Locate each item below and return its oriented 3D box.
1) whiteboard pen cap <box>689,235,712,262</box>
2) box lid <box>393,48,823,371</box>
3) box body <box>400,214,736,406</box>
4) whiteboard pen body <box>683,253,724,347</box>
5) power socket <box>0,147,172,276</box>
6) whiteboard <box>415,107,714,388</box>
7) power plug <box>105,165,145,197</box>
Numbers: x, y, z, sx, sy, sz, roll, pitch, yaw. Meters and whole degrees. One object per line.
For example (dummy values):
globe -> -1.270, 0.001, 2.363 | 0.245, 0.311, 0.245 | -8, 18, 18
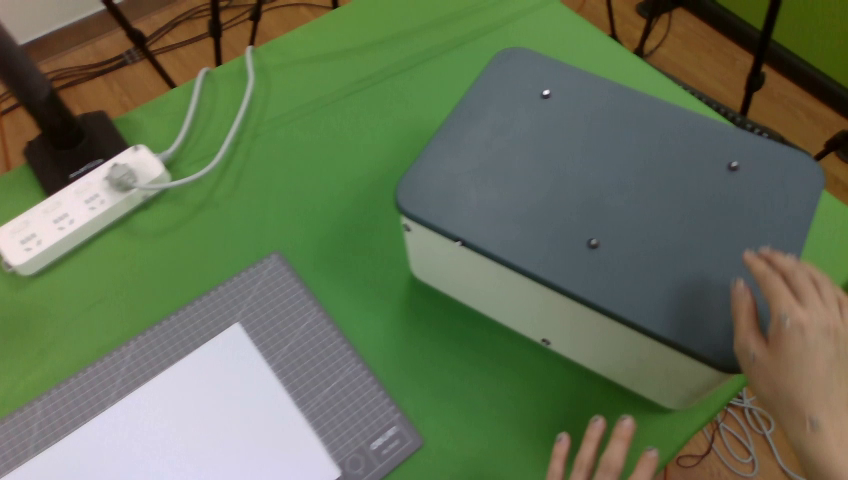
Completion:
whiteboard pen cap -> 0.329, 0.011, 0.722 | 0.018, 0.018, 0.033 | 28, 63, 18
box lid -> 0.179, -0.056, 0.602 | 0.369, 0.015, 0.262 | 26, 63, 16
box body -> 0.183, -0.015, 0.665 | 0.362, 0.162, 0.253 | 26, 62, 16
whiteboard pen body -> 0.325, 0.065, 0.697 | 0.017, 0.017, 0.140 | 26, 58, 17
power socket -> -0.427, -0.039, 0.767 | 0.226, 0.033, 0.071 | -39, 66, -21
whiteboard -> 0.174, -0.016, 0.681 | 0.304, 0.145, 0.216 | 24, 58, 16
power plug -> -0.370, -0.063, 0.755 | 0.035, 0.053, 0.072 | -30, 68, -17
